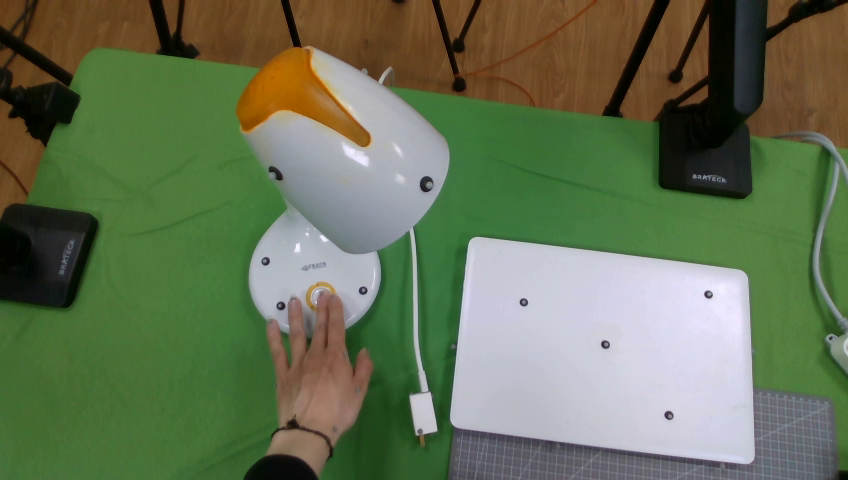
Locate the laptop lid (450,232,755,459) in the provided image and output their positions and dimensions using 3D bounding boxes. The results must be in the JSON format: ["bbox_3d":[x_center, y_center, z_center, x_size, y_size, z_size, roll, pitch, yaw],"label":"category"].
[{"bbox_3d":[0.216,0.120,0.723,0.357,0.013,0.240,8,73,1],"label":"laptop lid"}]

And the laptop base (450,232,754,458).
[{"bbox_3d":[0.217,0.122,0.735,0.354,0.023,0.234,7,74,0],"label":"laptop base"}]

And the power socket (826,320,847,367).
[{"bbox_3d":[0.584,0.186,0.718,0.072,0.033,0.225,-33,75,-12],"label":"power socket"}]

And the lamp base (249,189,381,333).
[{"bbox_3d":[-0.137,0.000,0.675,0.161,0.181,0.178,-22,71,-9],"label":"lamp base"}]

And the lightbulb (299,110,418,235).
[{"bbox_3d":[-0.047,-0.048,0.417,0.059,0.109,0.059,-23,42,23],"label":"lightbulb"}]

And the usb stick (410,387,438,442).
[{"bbox_3d":[0.001,0.200,0.696,0.027,0.021,0.059,-7,81,-4],"label":"usb stick"}]

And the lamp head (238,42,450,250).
[{"bbox_3d":[-0.062,-0.070,0.403,0.124,0.111,0.112,39,69,-34],"label":"lamp head"}]
